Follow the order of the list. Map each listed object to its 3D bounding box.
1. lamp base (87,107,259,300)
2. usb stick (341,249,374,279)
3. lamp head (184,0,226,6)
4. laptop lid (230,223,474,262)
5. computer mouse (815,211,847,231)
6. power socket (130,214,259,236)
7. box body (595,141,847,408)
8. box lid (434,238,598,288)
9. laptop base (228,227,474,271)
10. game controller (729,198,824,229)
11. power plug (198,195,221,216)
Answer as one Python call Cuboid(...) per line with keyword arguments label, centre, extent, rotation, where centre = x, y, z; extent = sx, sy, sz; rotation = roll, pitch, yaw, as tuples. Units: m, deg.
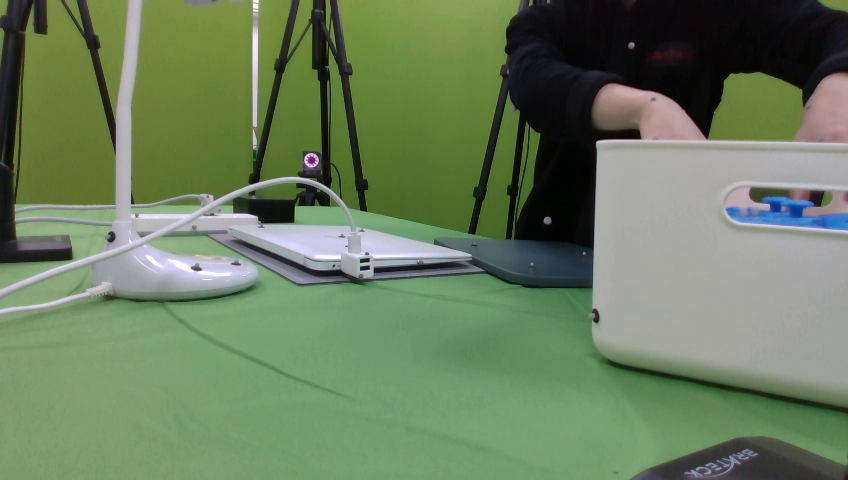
Cuboid(label="lamp base", centre=(-0.254, -0.039, 0.603), extent=(0.160, 0.180, 0.179), rotation=(5, 10, 18))
Cuboid(label="usb stick", centre=(-0.078, 0.026, 0.686), extent=(0.021, 0.027, 0.059), rotation=(-8, 8, -30))
Cuboid(label="lamp head", centre=(-0.229, -0.320, 0.627), extent=(0.112, 0.112, 0.123), rotation=(6, -35, 26))
Cuboid(label="laptop lid", centre=(-0.121, 0.000, 0.888), extent=(0.243, 0.013, 0.355), rotation=(1, 7, -33))
Cuboid(label="computer mouse", centre=(0.340, 0.001, 0.465), extent=(0.062, 0.041, 0.117), rotation=(7, 14, 21))
Cuboid(label="power socket", centre=(-0.397, -0.028, 1.048), extent=(0.228, 0.032, 0.072), rotation=(-3, 7, -35))
Cuboid(label="box body", centre=(0.309, 0.006, 0.509), extent=(0.253, 0.160, 0.366), rotation=(6, 8, 29))
Cuboid(label="box lid", centre=(0.185, 0.029, 0.896), extent=(0.264, 0.015, 0.370), rotation=(1, 7, -17))
Cuboid(label="laptop base", centre=(-0.124, 0.011, 0.889), extent=(0.237, 0.023, 0.352), rotation=(2, 6, -35))
Cuboid(label="game controller", centre=(0.257, -0.004, 0.446), extent=(0.097, 0.051, 0.155), rotation=(1, 7, 15))
Cuboid(label="power plug", centre=(-0.386, -0.055, 1.088), extent=(0.035, 0.052, 0.072), rotation=(-1, 6, -24))
